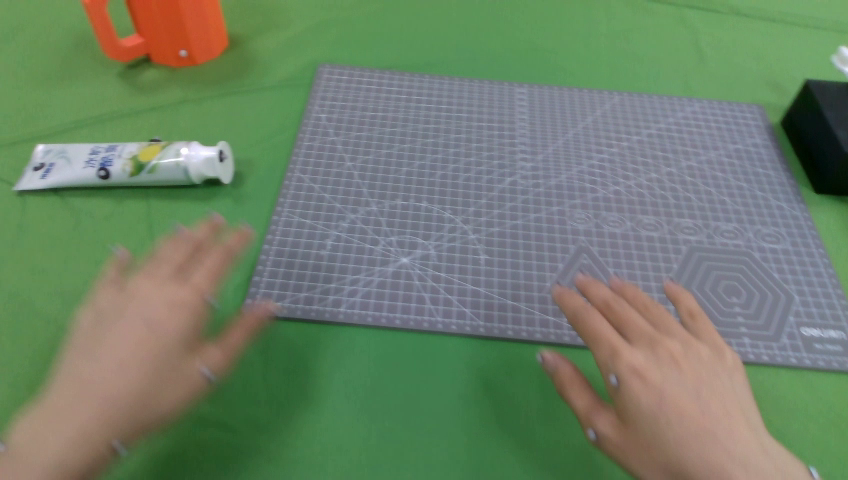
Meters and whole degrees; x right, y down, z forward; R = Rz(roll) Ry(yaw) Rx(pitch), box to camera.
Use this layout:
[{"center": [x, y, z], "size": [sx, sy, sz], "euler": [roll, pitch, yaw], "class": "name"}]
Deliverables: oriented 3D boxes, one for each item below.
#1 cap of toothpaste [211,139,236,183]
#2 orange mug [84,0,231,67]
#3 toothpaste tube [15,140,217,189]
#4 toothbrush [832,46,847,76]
[{"center": [-0.164, -0.064, 0.494], "size": [0.011, 0.037, 0.037], "euler": [-2, 51, -1], "class": "cap of toothpaste"}, {"center": [-0.254, -0.226, 0.579], "size": [0.126, 0.101, 0.083], "euler": [-34, 60, -32], "class": "orange mug"}, {"center": [-0.243, -0.065, 0.496], "size": [0.165, 0.035, 0.054], "euler": [-1, 47, 0], "class": "toothpaste tube"}, {"center": [0.397, -0.112, 0.526], "size": [0.014, 0.017, 0.180], "euler": [6, 51, -5], "class": "toothbrush"}]
